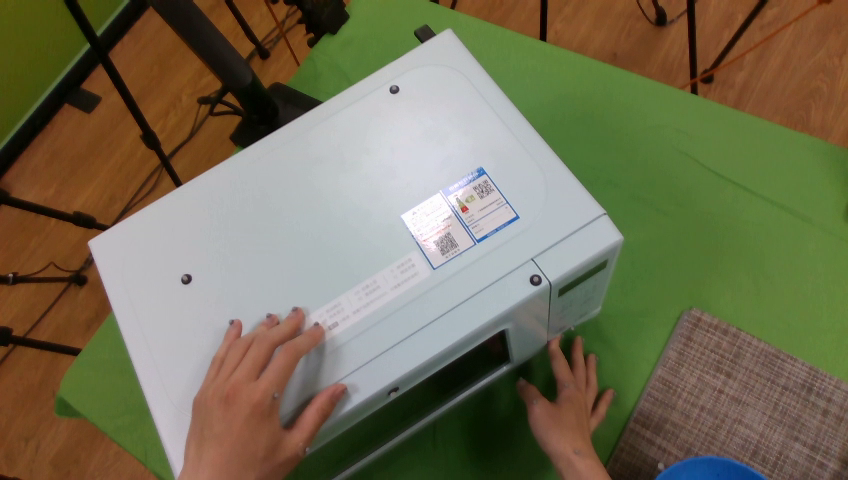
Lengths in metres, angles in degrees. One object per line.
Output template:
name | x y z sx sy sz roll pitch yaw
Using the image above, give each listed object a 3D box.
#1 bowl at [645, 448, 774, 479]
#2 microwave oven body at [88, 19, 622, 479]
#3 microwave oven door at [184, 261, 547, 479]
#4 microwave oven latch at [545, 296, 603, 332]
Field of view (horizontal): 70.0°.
bowl | 0.286 0.292 0.613 0.151 0.077 0.150 -4 67 9
microwave oven body | -0.068 0.029 0.685 0.442 0.262 0.323 -33 66 -3
microwave oven door | -0.030 0.160 0.618 0.356 0.246 0.039 -32 65 -4
microwave oven latch | 0.174 0.081 0.727 0.079 0.030 0.030 -26 66 -1
